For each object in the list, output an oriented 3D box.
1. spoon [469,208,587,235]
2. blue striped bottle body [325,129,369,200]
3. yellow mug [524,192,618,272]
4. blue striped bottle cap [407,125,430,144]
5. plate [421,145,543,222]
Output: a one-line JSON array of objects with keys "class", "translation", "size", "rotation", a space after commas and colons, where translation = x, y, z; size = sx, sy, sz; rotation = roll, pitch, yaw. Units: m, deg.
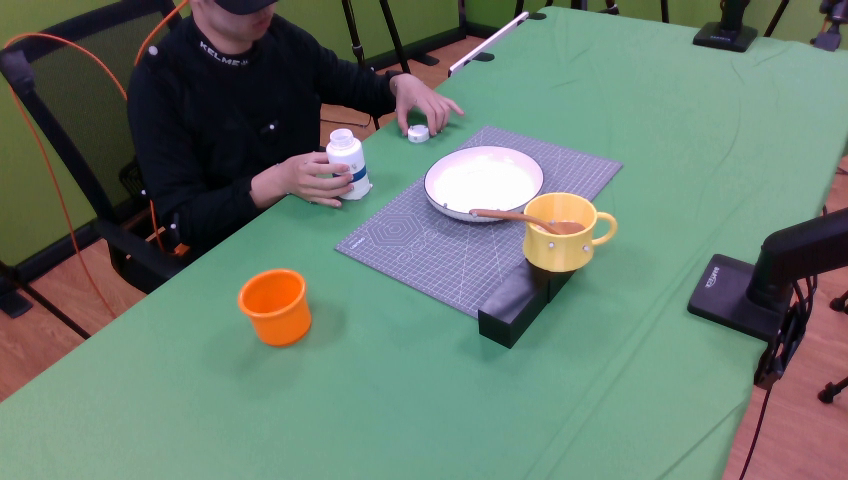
[{"class": "spoon", "translation": [0.143, -0.026, 0.817], "size": [0.195, 0.021, 0.041], "rotation": [12, 35, -29]}, {"class": "blue striped bottle body", "translation": [-0.137, -0.136, 1.071], "size": [0.063, 0.121, 0.063], "rotation": [-4, 41, 4]}, {"class": "yellow mug", "translation": [0.206, -0.014, 0.845], "size": [0.131, 0.064, 0.099], "rotation": [-4, 41, 2]}, {"class": "blue striped bottle cap", "translation": [-0.012, -0.214, 1.227], "size": [0.044, 0.021, 0.044], "rotation": [-7, 36, 5]}, {"class": "plate", "translation": [0.101, -0.094, 1.048], "size": [0.207, 0.039, 0.206], "rotation": [-4, 41, 4]}]
